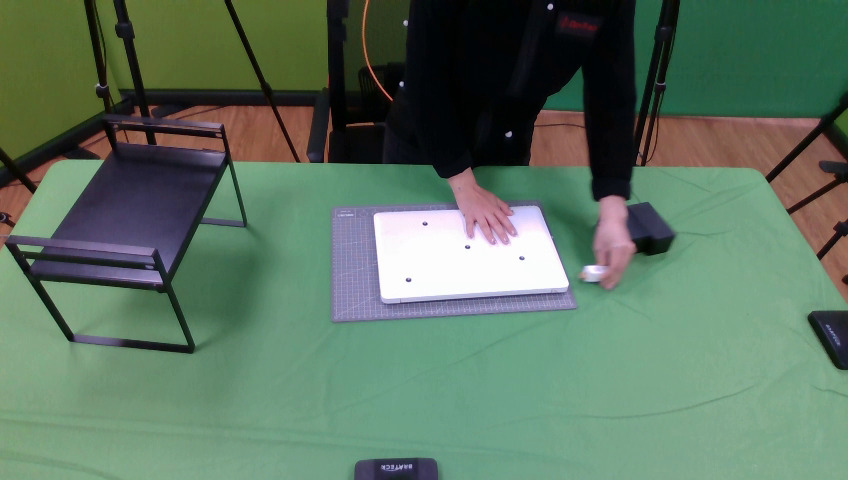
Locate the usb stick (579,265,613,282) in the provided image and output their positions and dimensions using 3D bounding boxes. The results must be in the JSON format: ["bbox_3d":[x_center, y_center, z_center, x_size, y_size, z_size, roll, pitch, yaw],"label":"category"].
[{"bbox_3d":[0.323,0.063,1.143,0.059,0.027,0.021,-3,41,-11],"label":"usb stick"}]

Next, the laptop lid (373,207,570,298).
[{"bbox_3d":[0.083,0.016,1.175,0.357,0.013,0.240,-2,43,-6],"label":"laptop lid"}]

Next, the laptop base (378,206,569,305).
[{"bbox_3d":[0.083,0.025,1.180,0.355,0.023,0.234,-3,43,-7],"label":"laptop base"}]
